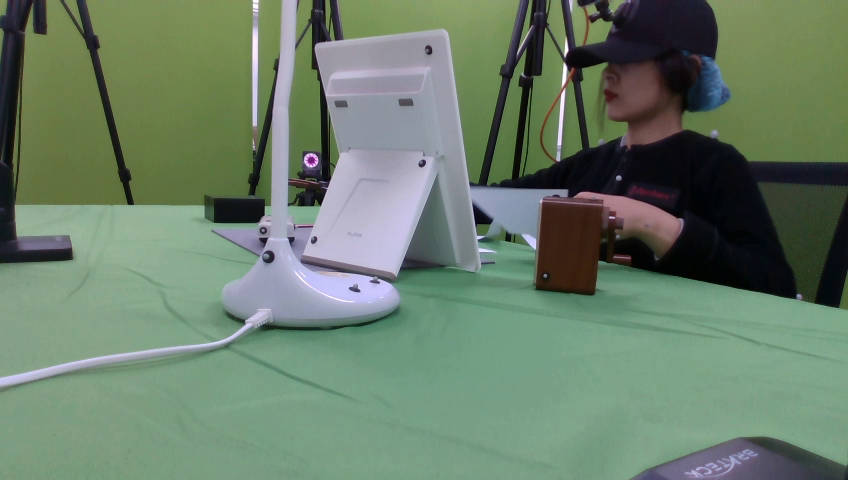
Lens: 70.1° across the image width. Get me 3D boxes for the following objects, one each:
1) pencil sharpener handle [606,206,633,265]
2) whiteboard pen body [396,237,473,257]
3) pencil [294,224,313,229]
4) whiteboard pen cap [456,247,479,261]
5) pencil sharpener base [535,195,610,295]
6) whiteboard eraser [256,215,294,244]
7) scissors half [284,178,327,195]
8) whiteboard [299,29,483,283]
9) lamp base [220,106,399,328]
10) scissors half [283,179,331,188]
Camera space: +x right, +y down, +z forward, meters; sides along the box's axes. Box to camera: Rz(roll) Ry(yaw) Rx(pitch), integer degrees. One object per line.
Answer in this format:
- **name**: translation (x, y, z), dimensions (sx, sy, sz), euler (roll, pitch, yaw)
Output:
- **pencil sharpener handle**: translation (0.223, -0.004, 0.683), dimensions (0.030, 0.068, 0.036), euler (5, 21, 16)
- **whiteboard pen body**: translation (0.014, 0.012, 0.886), dimensions (0.140, 0.017, 0.017), euler (10, 10, 38)
- **pencil**: translation (-0.220, -0.028, 1.211), dimensions (0.195, 0.012, 0.012), euler (-5, 10, -34)
- **whiteboard pen cap**: translation (0.060, 0.020, 0.851), dimensions (0.033, 0.018, 0.018), euler (10, 11, 37)
- **pencil sharpener base**: translation (0.172, 0.005, 0.695), dimensions (0.076, 0.107, 0.061), euler (5, 7, 16)
- **whiteboard eraser**: translation (-0.232, -0.016, 0.951), dimensions (0.056, 0.042, 0.112), euler (2, 7, -12)
- **scissors half**: translation (-0.234, -0.111, 1.282), dimensions (0.176, 0.012, 0.040), euler (14, -40, -36)
- **whiteboard**: translation (-0.074, -0.082, 0.742), dimensions (0.216, 0.305, 0.144), euler (9, 30, 38)
- **lamp base**: translation (-0.101, -0.023, 0.531), dimensions (0.160, 0.180, 0.179), euler (4, 10, 10)
- **scissors half**: translation (-0.224, -0.122, 1.268), dimensions (0.176, 0.040, 0.013), euler (-1, 52, -20)
